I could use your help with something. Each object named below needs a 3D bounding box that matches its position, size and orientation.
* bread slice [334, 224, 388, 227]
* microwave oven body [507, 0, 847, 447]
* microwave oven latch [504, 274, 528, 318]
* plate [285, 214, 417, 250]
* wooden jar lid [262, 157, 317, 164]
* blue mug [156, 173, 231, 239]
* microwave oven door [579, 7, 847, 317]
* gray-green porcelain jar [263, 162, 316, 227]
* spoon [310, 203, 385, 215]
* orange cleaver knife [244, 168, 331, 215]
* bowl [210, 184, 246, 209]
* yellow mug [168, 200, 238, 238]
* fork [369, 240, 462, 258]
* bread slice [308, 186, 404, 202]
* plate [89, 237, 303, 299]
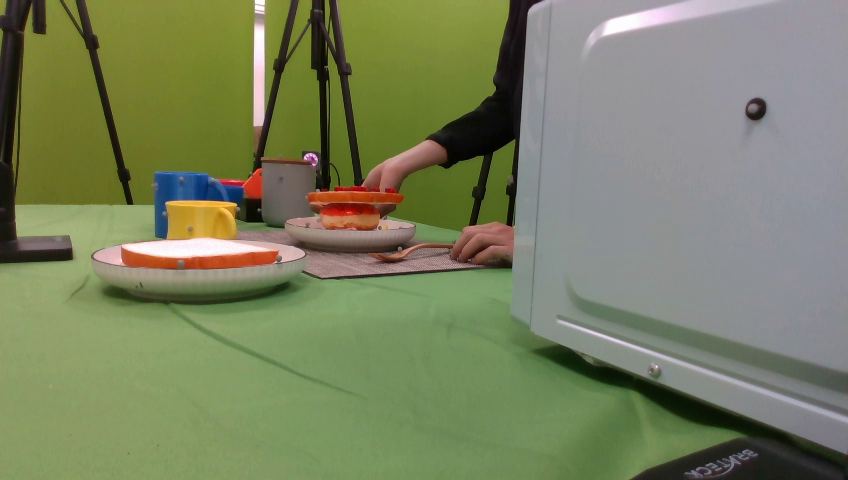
[{"bbox_3d":[-0.103,-0.010,0.961,0.131,0.019,0.105,3,9,25],"label":"bread slice"},{"bbox_3d":[0.331,-0.042,0.425,0.444,0.260,0.324,-2,8,-31],"label":"microwave oven body"},{"bbox_3d":[0.100,0.041,0.471,0.079,0.029,0.030,-1,7,-28],"label":"microwave oven latch"},{"bbox_3d":[-0.116,-0.014,0.964,0.209,0.038,0.209,2,8,0],"label":"plate"},{"bbox_3d":[-0.269,-0.154,1.208,0.108,0.020,0.108,3,5,0],"label":"wooden jar lid"},{"bbox_3d":[-0.381,-0.057,1.004,0.117,0.106,0.082,0,8,-12],"label":"blue mug"},{"bbox_3d":[0.294,-0.067,0.570,0.358,0.243,0.039,-3,9,-31],"label":"microwave oven door"},{"bbox_3d":[-0.271,-0.092,1.217,0.106,0.126,0.106,2,7,0],"label":"gray-green porcelain jar"},{"bbox_3d":[-0.138,-0.058,1.144,0.041,0.021,0.195,-1,2,37],"label":"spoon"},{"bbox_3d":[-0.300,-0.089,1.351,0.212,0.077,0.012,28,-9,-34],"label":"orange cleaver knife"},{"bbox_3d":[-0.422,-0.067,1.166,0.151,0.077,0.151,2,7,0],"label":"bowl"},{"bbox_3d":[-0.319,-0.023,0.904,0.130,0.064,0.100,9,11,36],"label":"yellow mug"},{"bbox_3d":[-0.005,0.011,0.874,0.028,0.018,0.208,-1,6,37],"label":"fork"},{"bbox_3d":[-0.114,-0.071,0.952,0.134,0.018,0.107,-1,1,21],"label":"bread slice"},{"bbox_3d":[-0.233,0.029,0.636,0.208,0.039,0.207,2,7,0],"label":"plate"}]
